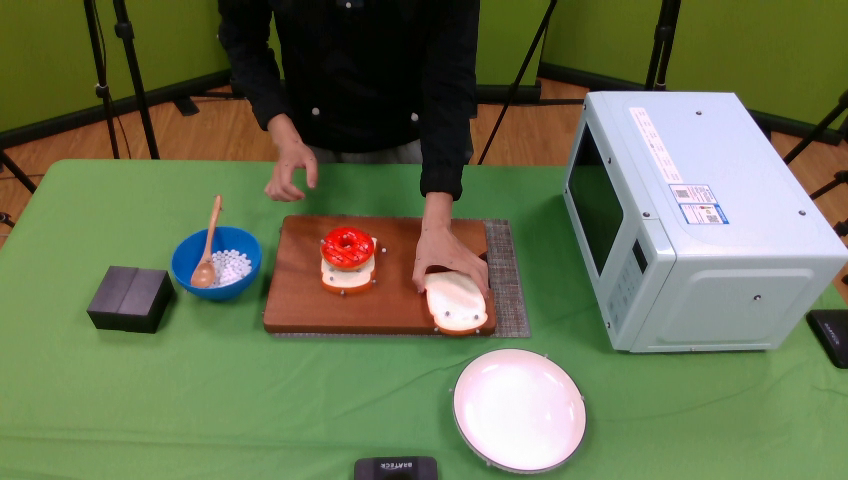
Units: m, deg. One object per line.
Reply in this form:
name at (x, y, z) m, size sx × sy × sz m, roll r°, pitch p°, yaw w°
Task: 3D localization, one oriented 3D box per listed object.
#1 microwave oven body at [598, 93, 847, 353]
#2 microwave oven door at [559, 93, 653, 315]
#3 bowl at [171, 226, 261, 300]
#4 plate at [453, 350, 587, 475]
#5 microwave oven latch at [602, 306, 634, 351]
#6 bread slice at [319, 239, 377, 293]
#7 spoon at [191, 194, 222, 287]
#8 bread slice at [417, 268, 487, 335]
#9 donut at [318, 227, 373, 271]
microwave oven body at (0.475, -0.041, 1.109) m, size 0.326 × 0.261 × 0.438 m, roll -1°, pitch 45°, yaw -4°
microwave oven door at (0.327, -0.074, 1.123) m, size 0.039 × 0.245 × 0.353 m, roll -1°, pitch 46°, yaw -5°
bowl at (-0.363, 0.054, 1.081) m, size 0.151 × 0.077 × 0.150 m, roll 3°, pitch 45°, yaw -2°
plate at (0.147, 0.267, 0.943) m, size 0.208 × 0.039 × 0.206 m, roll 2°, pitch 45°, yaw -2°
microwave oven latch at (0.332, 0.153, 1.044) m, size 0.030 × 0.029 × 0.078 m, roll 0°, pitch 45°, yaw -4°
bread slice at (-0.140, 0.044, 1.111) m, size 0.105 × 0.019 × 0.130 m, roll 0°, pitch 44°, yaw -3°
spoon at (-0.383, 0.000, 1.088) m, size 0.041 × 0.022 × 0.193 m, roll -1°, pitch 66°, yaw 6°
bread slice at (0.055, 0.108, 1.063) m, size 0.107 × 0.018 × 0.133 m, roll -9°, pitch 48°, yaw -12°
donut at (-0.142, 0.016, 1.096) m, size 0.099 × 0.048 × 0.098 m, roll 3°, pitch 45°, yaw -2°
